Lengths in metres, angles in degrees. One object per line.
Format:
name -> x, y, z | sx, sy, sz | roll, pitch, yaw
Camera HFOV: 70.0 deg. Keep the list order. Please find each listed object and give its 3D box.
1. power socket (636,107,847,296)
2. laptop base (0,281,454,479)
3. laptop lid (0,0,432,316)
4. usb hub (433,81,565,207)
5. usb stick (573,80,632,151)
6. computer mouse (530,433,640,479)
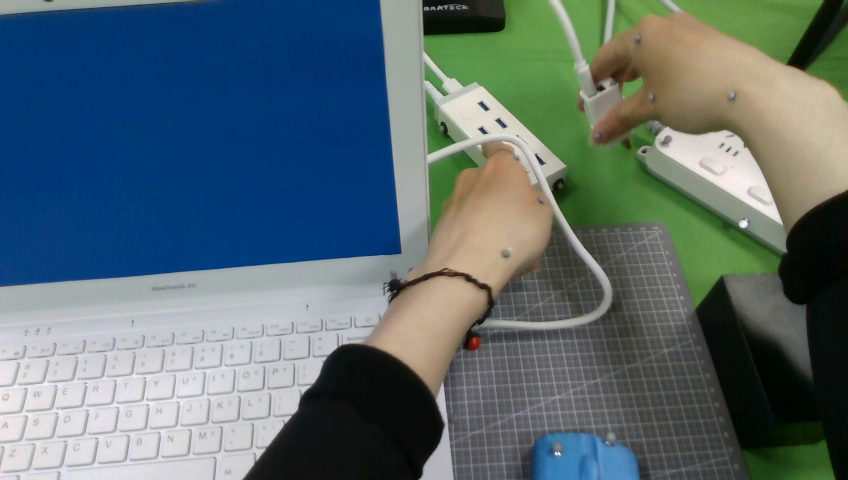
power socket -> 0.279, -0.031, 0.476 | 0.225, 0.033, 0.072 | 39, 64, 24
laptop base -> -0.159, 0.143, 0.367 | 0.354, 0.023, 0.233 | -5, 59, -3
laptop lid -> -0.174, -0.042, 0.352 | 0.357, 0.244, 0.013 | -6, 42, -2
usb hub -> 0.061, -0.084, 0.517 | 0.049, 0.025, 0.124 | -29, 60, -18
usb stick -> 0.140, -0.093, 0.466 | 0.027, 0.060, 0.021 | -38, 43, 10
computer mouse -> 0.089, 0.163, 0.336 | 0.062, 0.041, 0.116 | 7, 51, 8
